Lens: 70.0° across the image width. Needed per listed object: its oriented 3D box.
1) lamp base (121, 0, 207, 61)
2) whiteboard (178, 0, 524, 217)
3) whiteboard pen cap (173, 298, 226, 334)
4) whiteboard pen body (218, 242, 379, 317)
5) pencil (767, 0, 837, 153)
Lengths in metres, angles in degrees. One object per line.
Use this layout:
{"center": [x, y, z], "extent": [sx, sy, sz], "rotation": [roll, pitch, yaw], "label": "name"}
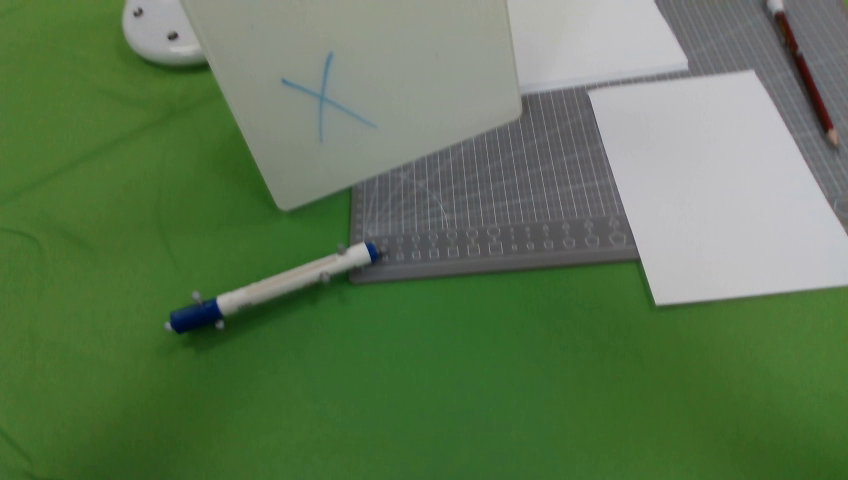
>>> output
{"center": [-0.245, -0.287, 0.559], "extent": [0.178, 0.182, 0.160], "rotation": [31, 65, 26], "label": "lamp base"}
{"center": [-0.071, -0.212, 0.451], "extent": [0.217, 0.308, 0.142], "rotation": [-23, 38, -8], "label": "whiteboard"}
{"center": [-0.154, 0.052, 0.419], "extent": [0.033, 0.018, 0.018], "rotation": [-20, 57, -12], "label": "whiteboard pen cap"}
{"center": [-0.100, 0.032, 0.429], "extent": [0.141, 0.017, 0.017], "rotation": [-21, 57, -9], "label": "whiteboard pen body"}
{"center": [0.316, -0.149, 0.509], "extent": [0.012, 0.012, 0.192], "rotation": [-1, 59, 6], "label": "pencil"}
